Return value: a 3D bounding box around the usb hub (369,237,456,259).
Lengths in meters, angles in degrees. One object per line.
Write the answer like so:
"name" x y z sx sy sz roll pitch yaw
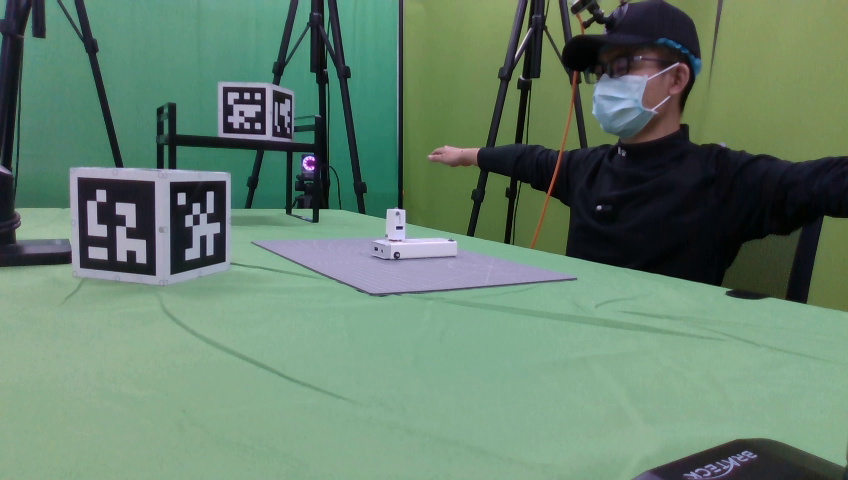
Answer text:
"usb hub" -0.016 0.012 0.909 0.126 0.025 0.049 -2 9 -32

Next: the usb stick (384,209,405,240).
"usb stick" -0.044 -0.016 0.892 0.021 0.059 0.027 -1 9 -35
